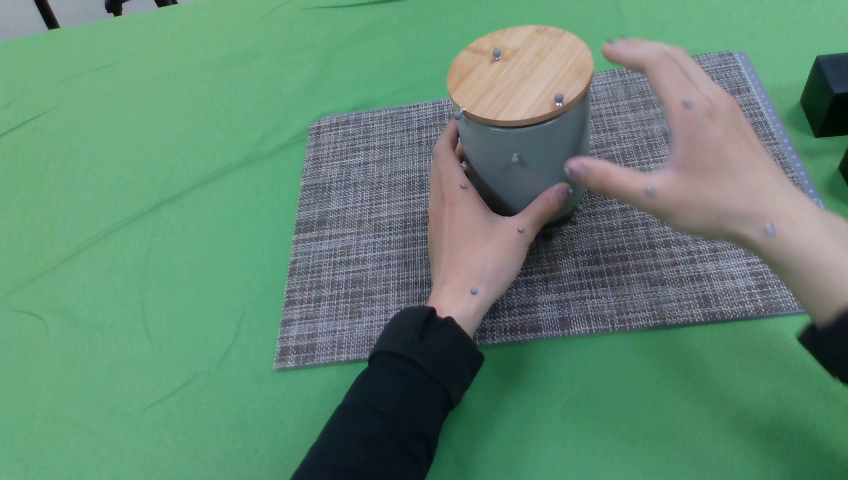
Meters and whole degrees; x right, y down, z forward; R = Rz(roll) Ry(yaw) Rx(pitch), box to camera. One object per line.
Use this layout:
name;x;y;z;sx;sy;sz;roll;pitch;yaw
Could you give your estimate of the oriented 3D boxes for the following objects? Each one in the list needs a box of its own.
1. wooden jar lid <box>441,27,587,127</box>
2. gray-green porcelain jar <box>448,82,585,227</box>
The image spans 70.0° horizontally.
wooden jar lid;0.067;-0.120;0.456;0.108;0.021;0.107;-6;54;9
gray-green porcelain jar;0.080;-0.081;0.506;0.106;0.128;0.105;-7;52;9
